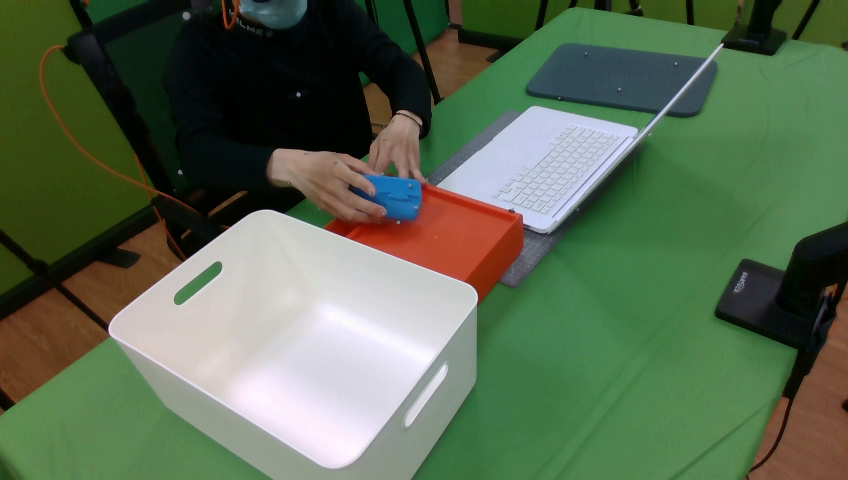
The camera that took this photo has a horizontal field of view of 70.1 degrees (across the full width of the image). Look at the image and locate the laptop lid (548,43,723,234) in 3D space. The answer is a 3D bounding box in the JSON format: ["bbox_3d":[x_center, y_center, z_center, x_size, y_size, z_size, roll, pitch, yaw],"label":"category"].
[{"bbox_3d":[0.336,-0.160,0.956,0.013,0.241,0.358,43,54,8],"label":"laptop lid"}]

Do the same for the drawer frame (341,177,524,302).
[{"bbox_3d":[0.009,0.010,0.909,0.212,0.083,0.202,21,48,28],"label":"drawer frame"}]

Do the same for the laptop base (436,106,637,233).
[{"bbox_3d":[0.210,-0.142,1.111,0.233,0.023,0.355,21,48,33],"label":"laptop base"}]

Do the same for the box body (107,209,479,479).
[{"bbox_3d":[-0.140,0.136,0.725,0.361,0.161,0.254,19,47,28],"label":"box body"}]

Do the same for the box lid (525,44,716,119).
[{"bbox_3d":[0.432,-0.360,1.341,0.369,0.015,0.263,16,45,24],"label":"box lid"}]

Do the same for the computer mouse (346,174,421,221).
[{"bbox_3d":[-0.062,-0.065,0.908,0.117,0.041,0.062,6,83,13],"label":"computer mouse"}]

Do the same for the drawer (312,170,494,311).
[{"bbox_3d":[-0.028,-0.006,0.933,0.210,0.073,0.195,22,48,30],"label":"drawer"}]
